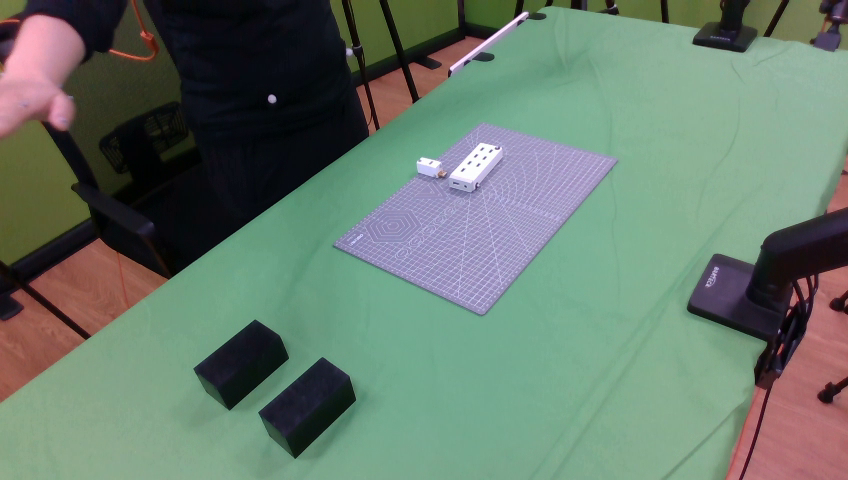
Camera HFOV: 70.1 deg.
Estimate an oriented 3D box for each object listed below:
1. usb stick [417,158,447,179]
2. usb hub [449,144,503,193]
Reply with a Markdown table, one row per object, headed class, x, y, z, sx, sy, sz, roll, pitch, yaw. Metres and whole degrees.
| class | x | y | z | sx | sy | sz | roll | pitch | yaw |
| --- | --- | --- | --- | --- | --- | --- | --- | --- | --- |
| usb stick | 0.016 | -0.130 | 1.114 | 0.059 | 0.027 | 0.021 | 21 | 44 | 26 |
| usb hub | 0.096 | -0.132 | 1.105 | 0.049 | 0.025 | 0.125 | 18 | 47 | 27 |
